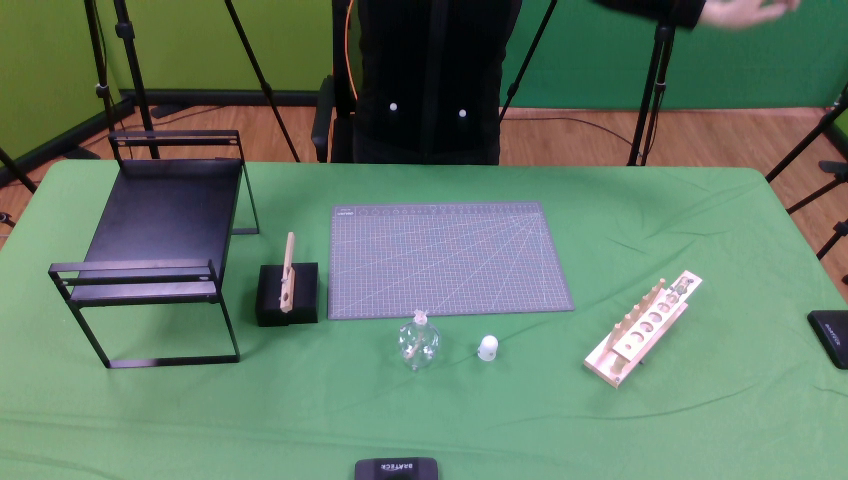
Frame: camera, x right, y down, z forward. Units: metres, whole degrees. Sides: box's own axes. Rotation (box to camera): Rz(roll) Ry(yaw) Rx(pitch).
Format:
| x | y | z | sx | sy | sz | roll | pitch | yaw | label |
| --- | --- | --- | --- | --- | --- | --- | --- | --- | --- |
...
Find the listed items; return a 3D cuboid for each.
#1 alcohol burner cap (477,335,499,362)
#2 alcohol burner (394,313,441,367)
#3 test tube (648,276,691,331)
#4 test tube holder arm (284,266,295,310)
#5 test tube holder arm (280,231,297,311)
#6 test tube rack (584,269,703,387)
| x | y | z | sx | sy | sz | roll | pitch | yaw | label |
| --- | --- | --- | --- | --- | --- | --- | --- | --- | --- |
| 0.109 | 0.179 | 1.017 | 0.034 | 0.048 | 0.033 | 4 | 50 | -4 | alcohol burner cap |
| -0.009 | 0.154 | 0.985 | 0.078 | 0.119 | 0.077 | 3 | 48 | -3 | alcohol burner |
| 0.405 | 0.108 | 1.007 | 0.017 | 0.151 | 0.017 | 3 | 51 | -4 | test tube |
| -0.229 | 0.081 | 1.034 | 0.010 | 0.015 | 0.087 | -13 | 46 | 6 | test tube holder arm |
| -0.238 | 0.050 | 1.065 | 0.013 | 0.015 | 0.177 | -12 | 46 | 6 | test tube holder arm |
| 0.381 | 0.139 | 1.046 | 0.066 | 0.085 | 0.242 | 37 | 54 | 28 | test tube rack |
